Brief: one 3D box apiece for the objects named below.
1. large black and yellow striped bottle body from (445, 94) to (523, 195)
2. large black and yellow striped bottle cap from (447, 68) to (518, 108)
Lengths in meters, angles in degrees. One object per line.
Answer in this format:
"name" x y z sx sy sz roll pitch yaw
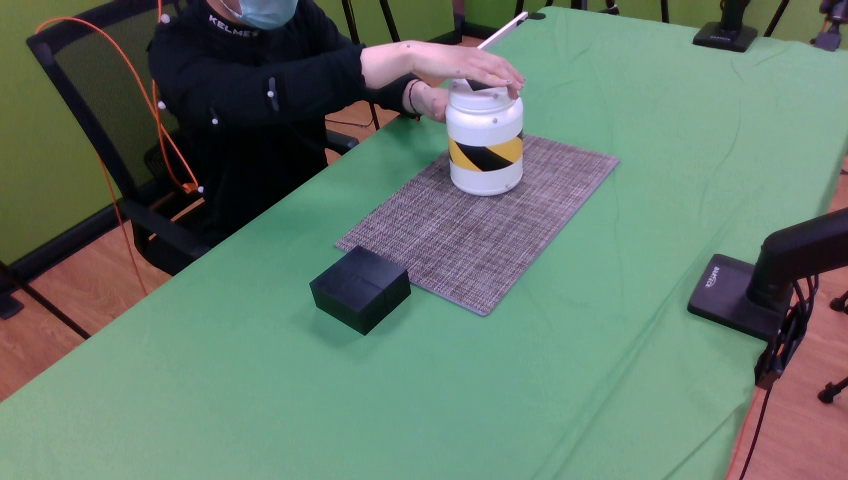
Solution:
"large black and yellow striped bottle body" 0.104 -0.184 1.037 0.131 0.185 0.130 -4 41 4
"large black and yellow striped bottle cap" 0.095 -0.248 0.982 0.115 0.019 0.114 -3 40 3
